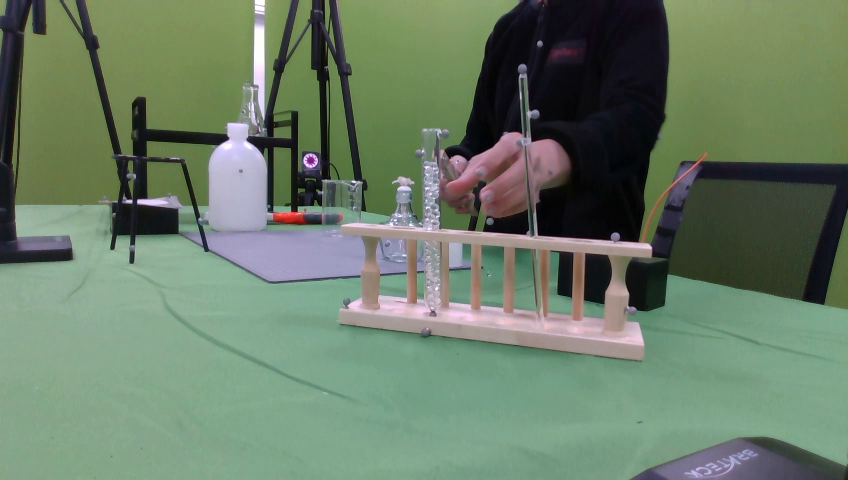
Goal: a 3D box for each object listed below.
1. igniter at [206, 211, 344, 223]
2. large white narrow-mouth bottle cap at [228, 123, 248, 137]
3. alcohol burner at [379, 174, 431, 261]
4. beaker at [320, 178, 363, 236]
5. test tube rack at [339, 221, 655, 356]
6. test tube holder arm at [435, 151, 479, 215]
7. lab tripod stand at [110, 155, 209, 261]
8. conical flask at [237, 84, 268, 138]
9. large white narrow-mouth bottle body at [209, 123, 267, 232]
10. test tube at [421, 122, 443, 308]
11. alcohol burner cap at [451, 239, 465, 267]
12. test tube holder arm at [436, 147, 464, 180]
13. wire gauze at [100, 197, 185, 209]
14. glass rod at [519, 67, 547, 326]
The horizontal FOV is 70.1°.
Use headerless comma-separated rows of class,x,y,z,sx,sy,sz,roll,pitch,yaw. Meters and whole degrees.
igniter,-0.302,-0.048,1.249,0.278,0.025,0.057,-2,-2,-26
large white narrow-mouth bottle cap,-0.338,-0.199,1.097,0.038,0.024,0.037,2,8,0
alcohol burner,-0.027,-0.031,0.838,0.078,0.119,0.078,0,6,0
beaker,-0.145,-0.059,1.079,0.074,0.100,0.083,-4,10,-36
test tube rack,0.056,0.032,0.495,0.242,0.085,0.067,4,7,15
test tube holder arm,0.055,-0.088,0.973,0.015,0.013,0.179,15,-22,31
lab tripod stand,-0.362,-0.046,0.806,0.148,0.131,0.148,2,5,0
conical flask,-0.402,-0.299,1.406,0.075,0.122,0.075,2,7,0
large white narrow-mouth bottle body,-0.340,-0.115,1.109,0.102,0.194,0.102,2,8,0
test tube,0.007,-0.019,0.487,0.017,0.150,0.017,-1,8,0
alcohol burner cap,0.040,0.010,0.815,0.034,0.048,0.034,2,9,0
test tube holder arm,0.041,-0.114,0.938,0.015,0.010,0.088,15,-21,31
wire gauze,-0.469,-0.062,1.008,0.126,0.011,0.121,-2,8,-25
glass rod,0.084,-0.028,0.458,0.008,0.199,0.008,-6,11,2
